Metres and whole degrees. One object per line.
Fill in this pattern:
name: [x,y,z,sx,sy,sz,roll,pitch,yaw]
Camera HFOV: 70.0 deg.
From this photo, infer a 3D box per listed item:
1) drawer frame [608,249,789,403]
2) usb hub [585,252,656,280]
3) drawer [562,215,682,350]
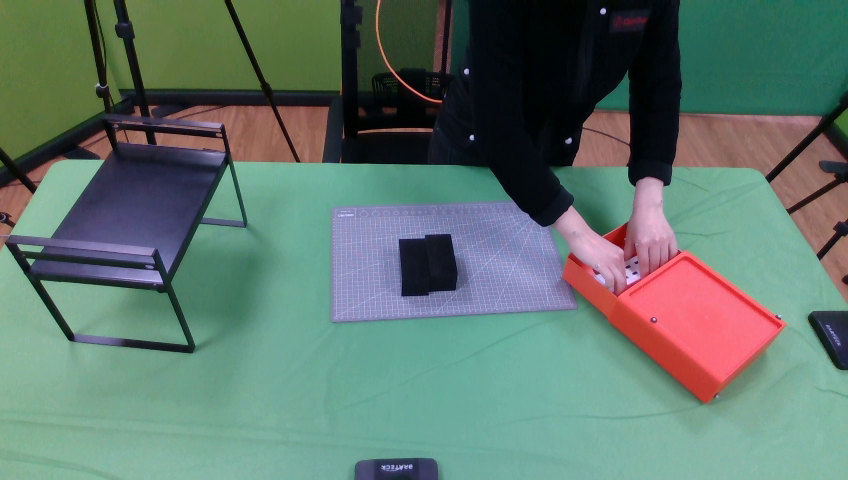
drawer frame: [0.470,0.139,1.052,0.202,0.083,0.212,-28,54,-28]
usb hub: [0.373,0.049,1.149,0.125,0.025,0.049,-2,51,-6]
drawer: [0.400,0.073,1.119,0.194,0.073,0.210,-26,55,-26]
